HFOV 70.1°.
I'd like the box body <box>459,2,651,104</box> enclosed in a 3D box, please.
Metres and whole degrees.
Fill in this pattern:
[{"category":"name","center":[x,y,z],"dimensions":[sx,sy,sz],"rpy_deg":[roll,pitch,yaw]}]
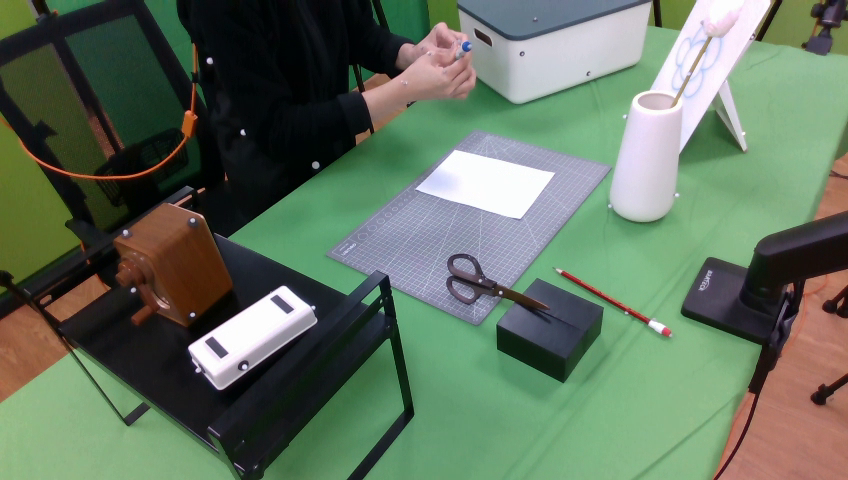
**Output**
[{"category":"box body","center":[0.291,-0.465,1.371],"dimensions":[0.365,0.161,0.252],"rpy_deg":[-22,42,-16]}]

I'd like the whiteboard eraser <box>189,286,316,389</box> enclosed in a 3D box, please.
[{"category":"whiteboard eraser","center":[-0.166,0.096,0.593],"dimensions":[0.113,0.042,0.055],"rpy_deg":[-36,46,-29]}]

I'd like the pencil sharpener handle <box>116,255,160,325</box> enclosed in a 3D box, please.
[{"category":"pencil sharpener handle","center":[-0.286,0.050,0.594],"dimensions":[0.035,0.068,0.031],"rpy_deg":[7,42,35]}]

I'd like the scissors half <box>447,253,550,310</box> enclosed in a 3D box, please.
[{"category":"scissors half","center":[0.098,0.058,0.821],"dimensions":[0.173,0.040,0.013],"rpy_deg":[27,33,37]}]

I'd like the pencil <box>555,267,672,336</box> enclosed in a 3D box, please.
[{"category":"pencil","center":[0.260,0.082,0.850],"dimensions":[0.012,0.012,0.192],"rpy_deg":[-33,46,-27]}]

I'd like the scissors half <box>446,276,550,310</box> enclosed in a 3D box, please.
[{"category":"scissors half","center":[0.098,0.077,0.827],"dimensions":[0.174,0.040,0.013],"rpy_deg":[6,14,44]}]

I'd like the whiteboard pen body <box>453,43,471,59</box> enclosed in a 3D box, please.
[{"category":"whiteboard pen body","center":[0.058,-0.296,0.952],"dimensions":[0.017,0.017,0.140],"rpy_deg":[-9,14,-2]}]

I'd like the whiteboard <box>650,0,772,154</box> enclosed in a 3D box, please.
[{"category":"whiteboard","center":[0.543,-0.298,1.076],"dimensions":[0.144,0.305,0.216],"rpy_deg":[12,40,-7]}]

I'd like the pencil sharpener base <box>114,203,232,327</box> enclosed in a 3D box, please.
[{"category":"pencil sharpener base","center":[-0.262,0.029,0.635],"dimensions":[0.061,0.107,0.077],"rpy_deg":[18,47,26]}]

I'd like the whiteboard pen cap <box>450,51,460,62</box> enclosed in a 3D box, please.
[{"category":"whiteboard pen cap","center":[0.053,-0.308,1.011],"dimensions":[0.018,0.018,0.033],"rpy_deg":[-10,12,-3]}]

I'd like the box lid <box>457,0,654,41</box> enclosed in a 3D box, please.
[{"category":"box lid","center":[0.285,-0.522,1.323],"dimensions":[0.373,0.015,0.261],"rpy_deg":[-22,43,-16]}]

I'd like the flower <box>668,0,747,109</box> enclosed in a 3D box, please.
[{"category":"flower","center":[0.354,-0.187,0.879],"dimensions":[0.038,0.362,0.044],"rpy_deg":[31,48,14]}]

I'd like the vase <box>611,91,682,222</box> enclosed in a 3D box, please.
[{"category":"vase","center":[0.348,-0.125,0.935],"dimensions":[0.098,0.201,0.097],"rpy_deg":[-3,40,3]}]
